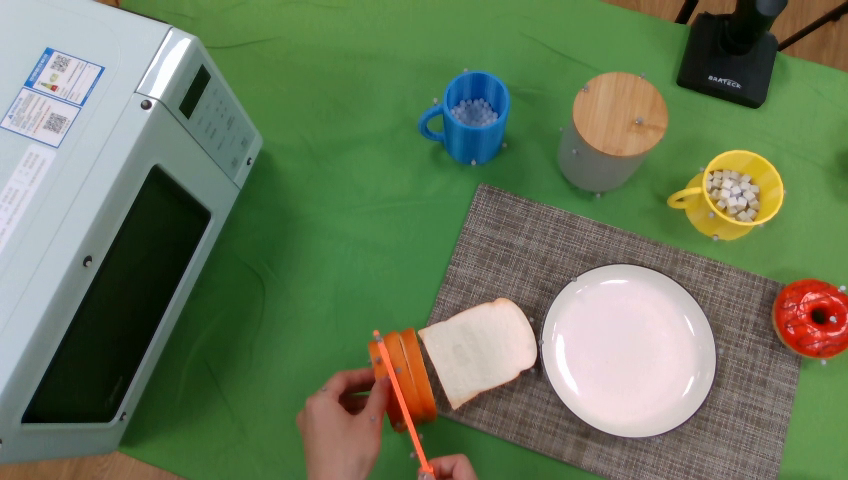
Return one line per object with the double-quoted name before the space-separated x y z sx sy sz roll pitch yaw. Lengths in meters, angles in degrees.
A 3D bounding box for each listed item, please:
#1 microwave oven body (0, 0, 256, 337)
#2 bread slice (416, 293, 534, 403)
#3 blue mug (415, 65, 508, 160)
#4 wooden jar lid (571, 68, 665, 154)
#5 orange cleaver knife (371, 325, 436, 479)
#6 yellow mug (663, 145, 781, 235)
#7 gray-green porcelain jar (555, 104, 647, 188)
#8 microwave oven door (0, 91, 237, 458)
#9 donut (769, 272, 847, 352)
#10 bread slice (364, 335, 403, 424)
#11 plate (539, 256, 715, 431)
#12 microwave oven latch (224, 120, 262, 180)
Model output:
"microwave oven body" -0.446 -0.036 0.678 0.325 0.261 0.440 20 77 6
"bread slice" 0.069 0.127 0.745 0.131 0.019 0.104 -23 75 -1
"blue mug" 0.047 -0.161 0.786 0.116 0.106 0.082 -6 74 0
"wooden jar lid" 0.223 -0.148 0.704 0.108 0.021 0.107 0 73 1
"orange cleaver knife" -0.013 0.184 0.592 0.012 0.077 0.211 -20 90 -9
"yellow mug" 0.373 -0.061 0.774 0.131 0.064 0.099 -4 75 1
"gray-green porcelain jar" 0.225 -0.131 0.764 0.106 0.127 0.105 0 75 1
"microwave oven door" -0.326 0.049 0.648 0.039 0.245 0.354 19 76 6
"donut" 0.472 0.088 0.739 0.099 0.048 0.098 0 76 1
"bread slice" -0.047 0.156 0.692 0.018 0.135 0.106 -18 75 -8
"plate" 0.242 0.124 0.737 0.207 0.039 0.206 0 75 1
"microwave oven latch" -0.242 -0.121 0.797 0.030 0.029 0.079 23 77 7
